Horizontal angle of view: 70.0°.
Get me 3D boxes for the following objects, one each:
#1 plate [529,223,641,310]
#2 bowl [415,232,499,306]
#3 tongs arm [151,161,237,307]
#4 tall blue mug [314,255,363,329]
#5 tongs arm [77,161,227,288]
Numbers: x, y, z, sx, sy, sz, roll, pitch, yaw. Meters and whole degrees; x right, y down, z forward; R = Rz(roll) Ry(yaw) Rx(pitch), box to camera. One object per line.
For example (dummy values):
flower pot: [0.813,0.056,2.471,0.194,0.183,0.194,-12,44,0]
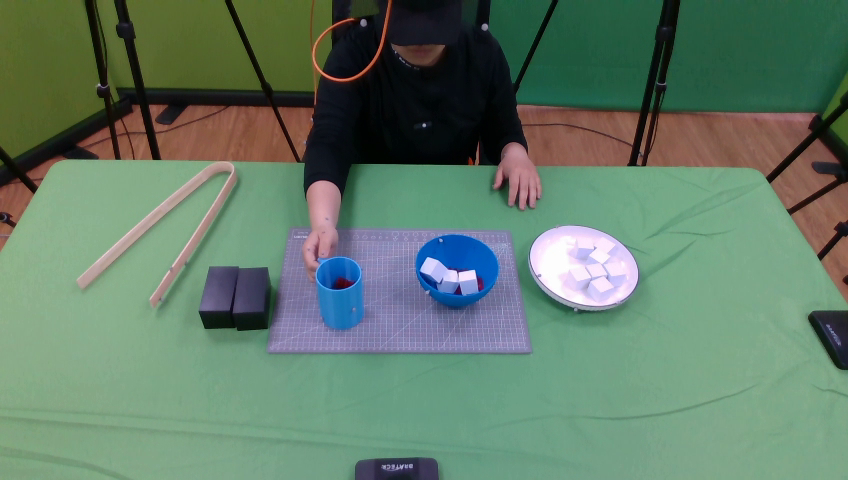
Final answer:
plate: [0.303,0.053,1.156,0.209,0.038,0.208,2,46,-1]
bowl: [0.057,0.067,1.093,0.151,0.077,0.150,2,46,-2]
tongs arm: [-0.447,-0.026,1.180,0.051,0.026,0.383,8,46,10]
tall blue mug: [-0.157,0.085,1.040,0.107,0.108,0.077,23,50,18]
tongs arm: [-0.524,-0.043,1.196,0.028,0.028,0.386,15,47,22]
